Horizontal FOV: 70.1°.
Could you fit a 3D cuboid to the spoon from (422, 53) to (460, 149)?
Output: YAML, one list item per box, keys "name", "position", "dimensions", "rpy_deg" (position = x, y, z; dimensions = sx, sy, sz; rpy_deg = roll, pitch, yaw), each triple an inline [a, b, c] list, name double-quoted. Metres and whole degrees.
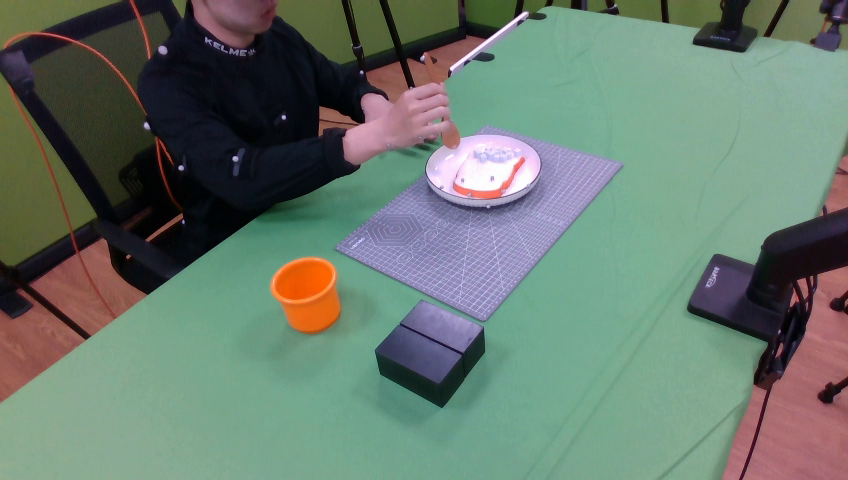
- name: "spoon"
  position: [0.029, -0.229, 1.012]
  dimensions: [0.021, 0.195, 0.042]
  rpy_deg: [31, 66, 34]

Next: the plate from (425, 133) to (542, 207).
- name: "plate"
  position: [0.106, -0.121, 1.079]
  dimensions: [0.209, 0.038, 0.208]
  rpy_deg: [-4, 41, 4]

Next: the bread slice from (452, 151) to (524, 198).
- name: "bread slice"
  position: [0.111, -0.118, 1.079]
  dimensions: [0.104, 0.019, 0.131]
  rpy_deg: [11, 41, 21]
